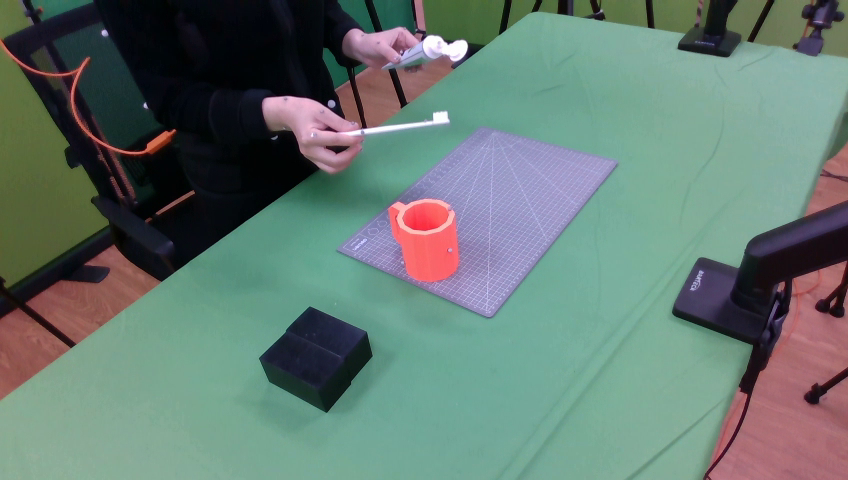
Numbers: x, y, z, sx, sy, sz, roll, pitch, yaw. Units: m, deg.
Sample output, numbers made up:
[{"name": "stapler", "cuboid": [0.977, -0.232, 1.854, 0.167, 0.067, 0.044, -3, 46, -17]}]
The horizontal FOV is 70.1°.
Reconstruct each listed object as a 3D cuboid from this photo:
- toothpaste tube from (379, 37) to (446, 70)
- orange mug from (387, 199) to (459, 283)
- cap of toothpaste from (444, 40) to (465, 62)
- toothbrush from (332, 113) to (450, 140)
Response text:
[{"name": "toothpaste tube", "cuboid": [-0.014, -0.304, 1.005, 0.055, 0.034, 0.164, -9, 6, -30]}, {"name": "orange mug", "cuboid": [-0.006, -0.007, 0.923, 0.125, 0.101, 0.084, 32, 54, 32]}, {"name": "cap of toothpaste", "cuboid": [0.048, -0.296, 0.941, 0.037, 0.011, 0.037, -13, 69, 35]}, {"name": "toothbrush", "cuboid": [-0.050, -0.156, 0.839, 0.181, 0.016, 0.014, -4, 11, 23]}]
